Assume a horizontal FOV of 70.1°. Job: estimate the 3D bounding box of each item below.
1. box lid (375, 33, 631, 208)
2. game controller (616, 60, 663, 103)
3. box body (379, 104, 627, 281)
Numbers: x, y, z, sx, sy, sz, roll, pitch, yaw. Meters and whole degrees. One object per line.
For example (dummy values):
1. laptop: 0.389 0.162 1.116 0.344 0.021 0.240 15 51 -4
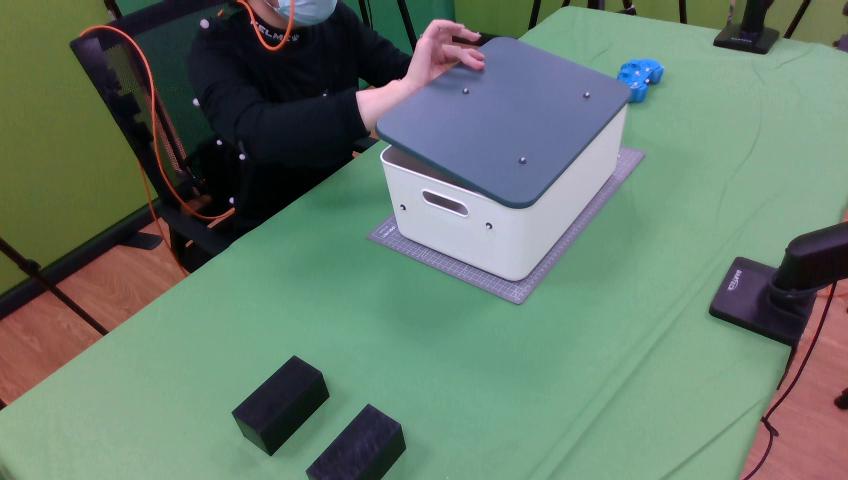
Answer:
1. box lid: 0.132 -0.199 0.912 0.262 0.015 0.372 31 52 20
2. game controller: 0.442 -0.344 1.288 0.096 0.052 0.155 25 50 27
3. box body: 0.139 -0.123 0.979 0.252 0.161 0.365 22 49 30
